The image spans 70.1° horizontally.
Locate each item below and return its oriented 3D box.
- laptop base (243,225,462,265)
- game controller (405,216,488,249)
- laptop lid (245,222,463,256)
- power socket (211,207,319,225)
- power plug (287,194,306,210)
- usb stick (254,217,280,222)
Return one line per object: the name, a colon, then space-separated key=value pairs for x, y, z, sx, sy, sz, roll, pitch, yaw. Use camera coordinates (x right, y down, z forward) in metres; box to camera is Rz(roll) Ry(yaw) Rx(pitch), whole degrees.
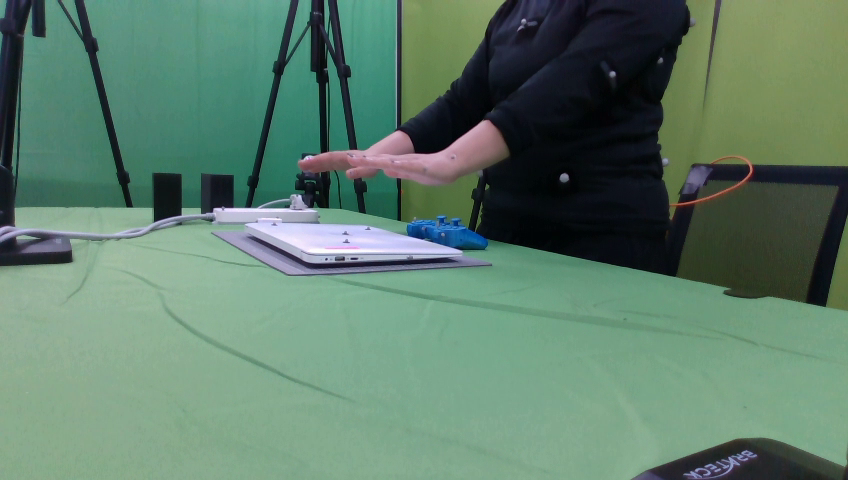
laptop base: x=-0.129 y=0.007 z=0.952 sx=0.237 sy=0.023 sz=0.352 roll=2 pitch=6 yaw=-30
game controller: x=0.035 y=-0.014 z=1.067 sx=0.097 sy=0.051 sz=0.154 roll=-8 pitch=11 yaw=-28
laptop lid: x=-0.126 y=-0.005 z=0.951 sx=0.243 sy=0.013 sz=0.355 roll=1 pitch=7 yaw=-28
power socket: x=-0.334 y=-0.051 z=1.281 sx=0.228 sy=0.032 sz=0.072 roll=-1 pitch=9 yaw=-29
power plug: x=-0.283 y=-0.075 z=1.342 sx=0.035 sy=0.052 sz=0.072 roll=0 pitch=3 yaw=-18
usb stick: x=-0.296 y=-0.028 z=1.114 sx=0.059 sy=0.027 sz=0.021 roll=-4 pitch=11 yaw=-30
